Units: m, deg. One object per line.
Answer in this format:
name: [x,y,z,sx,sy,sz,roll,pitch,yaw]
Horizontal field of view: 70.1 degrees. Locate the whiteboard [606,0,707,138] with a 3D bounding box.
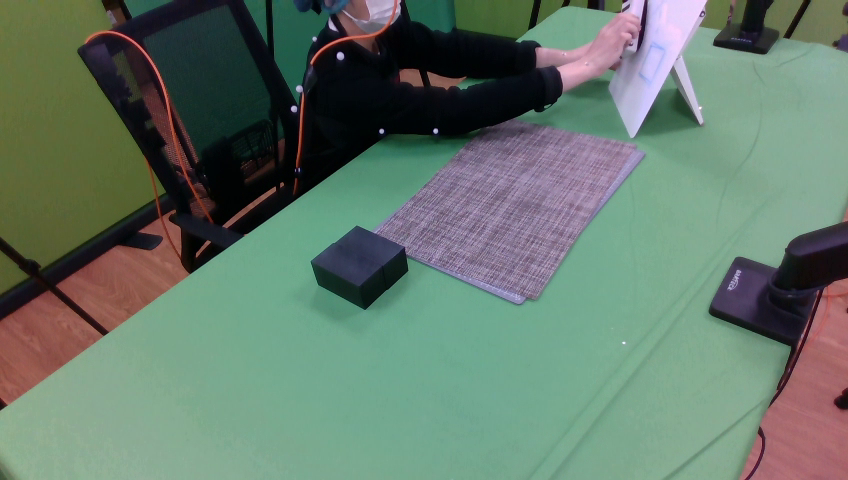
whiteboard: [0.496,-0.358,1.147,0.144,0.305,0.216,12,40,-7]

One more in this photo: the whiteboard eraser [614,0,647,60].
whiteboard eraser: [0.411,-0.419,1.199,0.042,0.112,0.055,11,-3,-14]
